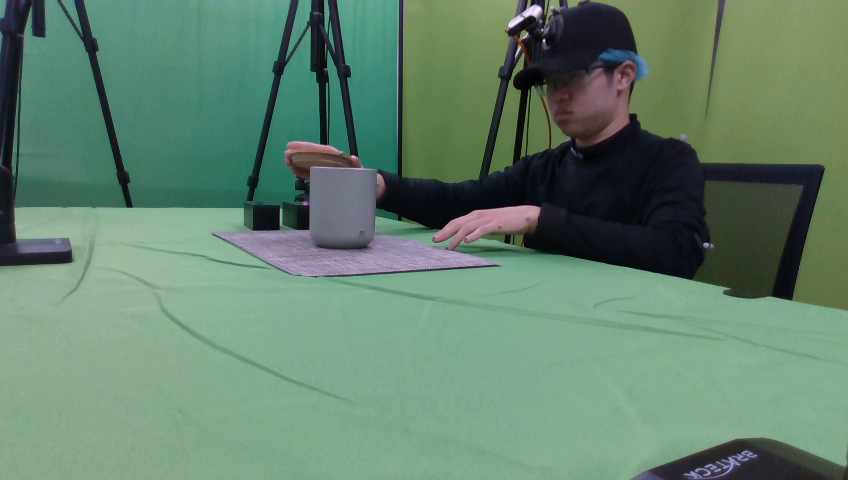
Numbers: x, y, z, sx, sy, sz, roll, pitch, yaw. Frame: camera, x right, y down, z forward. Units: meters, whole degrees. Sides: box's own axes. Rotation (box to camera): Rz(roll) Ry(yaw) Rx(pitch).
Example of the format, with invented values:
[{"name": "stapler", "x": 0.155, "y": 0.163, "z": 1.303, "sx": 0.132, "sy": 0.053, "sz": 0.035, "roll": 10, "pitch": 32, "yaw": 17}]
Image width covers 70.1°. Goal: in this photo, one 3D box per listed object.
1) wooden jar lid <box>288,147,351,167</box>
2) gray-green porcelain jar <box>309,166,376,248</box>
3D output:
[{"name": "wooden jar lid", "x": -0.181, "y": -0.140, "z": 1.048, "sx": 0.108, "sy": 0.020, "sz": 0.108, "roll": 4, "pitch": -3, "yaw": 1}, {"name": "gray-green porcelain jar", "x": -0.131, "y": -0.054, "z": 0.966, "sx": 0.106, "sy": 0.126, "sz": 0.106, "roll": 2, "pitch": 7, "yaw": 0}]
